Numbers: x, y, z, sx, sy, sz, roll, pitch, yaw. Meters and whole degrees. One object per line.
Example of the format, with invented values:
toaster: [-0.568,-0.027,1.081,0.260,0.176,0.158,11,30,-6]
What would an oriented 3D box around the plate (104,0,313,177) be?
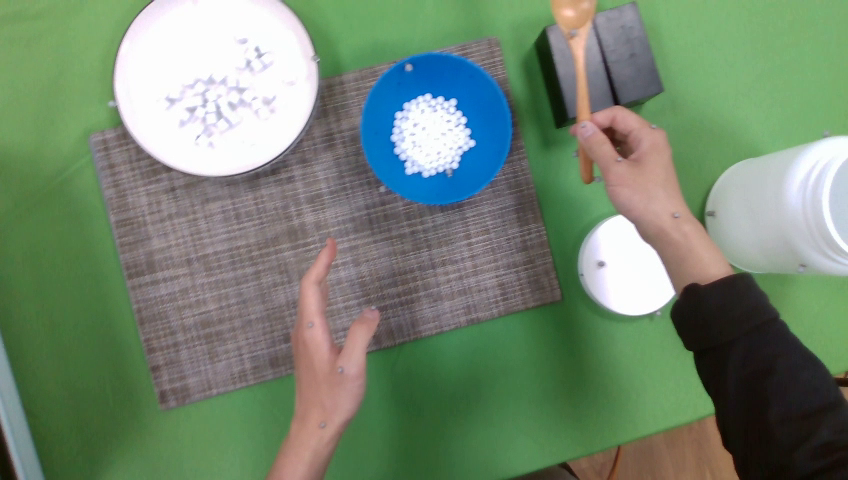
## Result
plate: [-0.219,-0.166,0.634,0.209,0.038,0.208,0,87,-4]

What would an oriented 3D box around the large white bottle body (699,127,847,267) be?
large white bottle body: [0.380,-0.038,0.607,0.131,0.184,0.130,0,89,-4]

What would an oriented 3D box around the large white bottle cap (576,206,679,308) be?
large white bottle cap: [0.228,0.019,0.679,0.115,0.018,0.114,0,90,-6]

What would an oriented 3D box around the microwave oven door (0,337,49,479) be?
microwave oven door: [-0.430,0.131,0.500,0.039,0.243,0.355,-18,91,-4]

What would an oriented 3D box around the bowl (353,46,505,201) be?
bowl: [0.003,-0.112,0.629,0.151,0.077,0.151,0,90,-4]

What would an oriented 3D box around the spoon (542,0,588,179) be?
spoon: [0.135,-0.152,0.555,0.041,0.021,0.194,-7,96,1]

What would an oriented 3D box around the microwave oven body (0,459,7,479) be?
microwave oven body: [-0.583,0.134,0.493,0.326,0.260,0.441,-17,91,-5]
